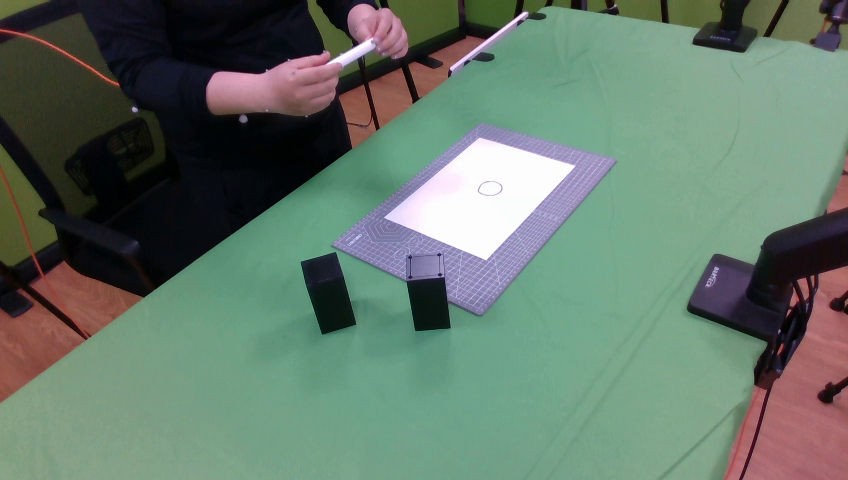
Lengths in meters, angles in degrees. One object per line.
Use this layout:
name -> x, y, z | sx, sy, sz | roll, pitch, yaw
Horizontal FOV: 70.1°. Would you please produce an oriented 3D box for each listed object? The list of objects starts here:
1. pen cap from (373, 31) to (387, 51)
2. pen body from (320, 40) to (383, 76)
pen cap -> -0.074, -0.327, 0.991 | 0.017, 0.017, 0.038 | 16, 56, 26
pen body -> -0.110, -0.292, 0.953 | 0.017, 0.017, 0.144 | 23, 48, 31
